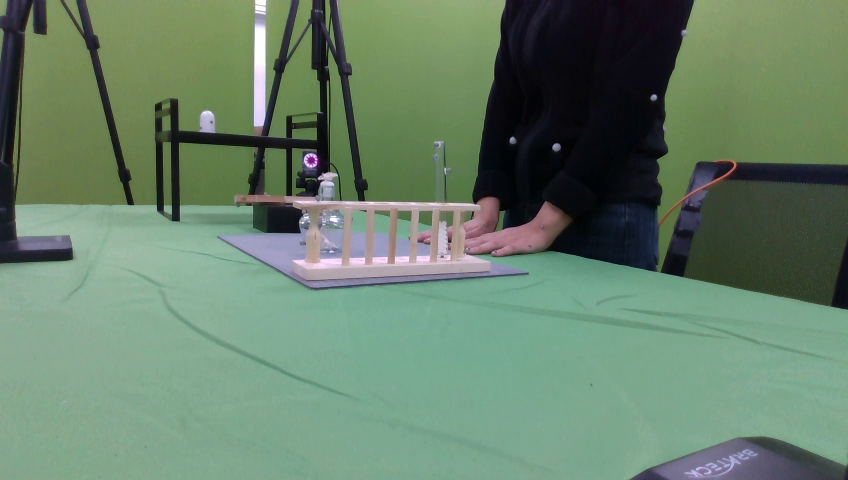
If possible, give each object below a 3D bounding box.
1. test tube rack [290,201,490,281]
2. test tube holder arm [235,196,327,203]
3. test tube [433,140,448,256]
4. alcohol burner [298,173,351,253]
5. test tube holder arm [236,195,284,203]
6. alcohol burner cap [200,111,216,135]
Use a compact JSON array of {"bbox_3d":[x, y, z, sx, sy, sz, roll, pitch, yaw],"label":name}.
[{"bbox_3d":[-0.035,-0.002,0.745,0.243,0.085,0.066,-1,8,-28],"label":"test tube rack"},{"bbox_3d":[-0.270,-0.077,1.153,0.179,0.015,0.013,-2,4,-34],"label":"test tube holder arm"},{"bbox_3d":[0.021,-0.054,0.785,0.017,0.150,0.017,-2,8,1],"label":"test tube"},{"bbox_3d":[-0.146,-0.040,0.894,0.078,0.119,0.078,5,7,0],"label":"alcohol burner"},{"bbox_3d":[-0.304,-0.075,1.123,0.088,0.015,0.010,-2,4,-33],"label":"test tube holder arm"},{"bbox_3d":[-0.448,-0.243,1.255,0.034,0.048,0.034,2,7,0],"label":"alcohol burner cap"}]
